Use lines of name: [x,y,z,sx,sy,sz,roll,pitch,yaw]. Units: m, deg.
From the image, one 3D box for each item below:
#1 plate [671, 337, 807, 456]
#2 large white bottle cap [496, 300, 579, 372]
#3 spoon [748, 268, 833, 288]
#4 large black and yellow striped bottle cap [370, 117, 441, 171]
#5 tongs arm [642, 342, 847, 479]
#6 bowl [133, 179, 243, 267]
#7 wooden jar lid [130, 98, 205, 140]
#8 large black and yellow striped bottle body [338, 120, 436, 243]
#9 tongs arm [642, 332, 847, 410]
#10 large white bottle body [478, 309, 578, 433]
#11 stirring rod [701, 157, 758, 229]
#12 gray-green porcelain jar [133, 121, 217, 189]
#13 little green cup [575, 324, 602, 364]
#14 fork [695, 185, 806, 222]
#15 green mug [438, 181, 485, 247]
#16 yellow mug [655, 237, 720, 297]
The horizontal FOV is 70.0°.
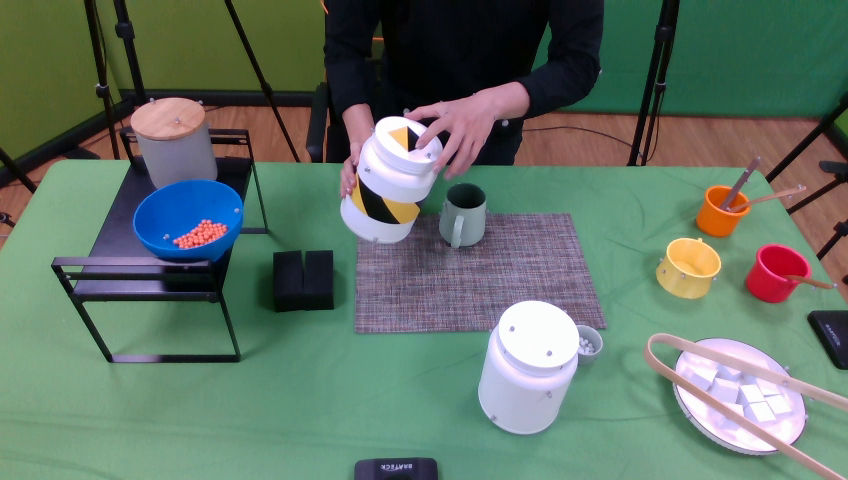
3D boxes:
plate: [0.504,0.254,0.984,0.208,0.039,0.206,2,46,-2]
large white bottle cap: [0.160,0.133,0.852,0.115,0.018,0.114,3,46,-2]
spoon: [0.660,0.068,1.097,0.041,0.193,0.021,-4,91,-6]
large black and yellow striped bottle cap: [-0.029,-0.154,0.959,0.115,0.019,0.114,15,42,-14]
tongs arm: [0.504,0.279,0.918,0.386,0.028,0.028,33,59,22]
bowl: [-0.339,-0.013,0.895,0.151,0.077,0.150,2,46,-2]
wooden jar lid: [-0.393,-0.183,0.934,0.108,0.021,0.107,3,43,-2]
large black and yellow striped bottle body: [-0.059,-0.099,1.015,0.131,0.184,0.130,16,42,-15]
tongs arm: [0.546,0.227,0.968,0.384,0.026,0.050,22,52,13]
large white bottle body: [0.156,0.192,0.913,0.131,0.185,0.130,2,46,-2]
stirring rod: [0.634,-0.096,1.257,0.014,0.006,0.176,38,97,30]
gray-green porcelain jar: [-0.397,-0.141,0.979,0.106,0.127,0.105,2,47,-2]
little green cup: [0.269,0.180,1.036,0.061,0.039,0.061,2,45,-2]
fork: [0.658,-0.074,1.229,0.207,0.019,0.028,-23,36,37]
green mug: [0.071,-0.039,1.177,0.092,0.105,0.124,12,47,7]
yellow mug: [0.509,0.041,1.167,0.099,0.064,0.130,24,48,18]
